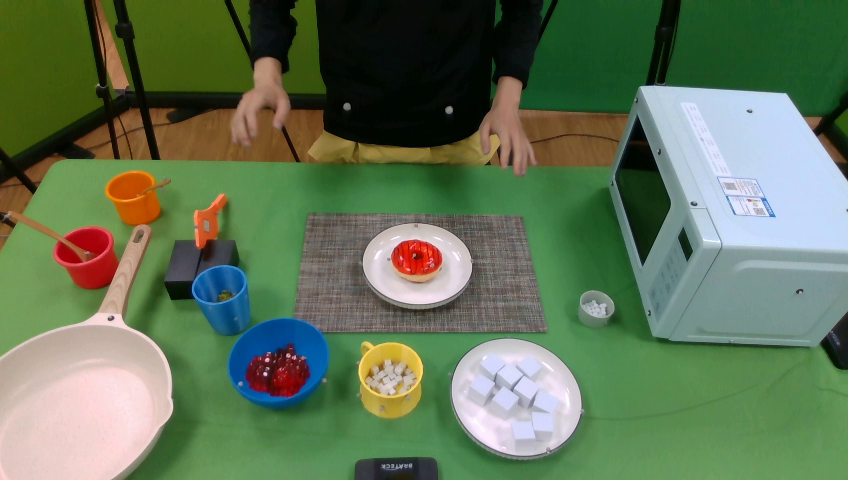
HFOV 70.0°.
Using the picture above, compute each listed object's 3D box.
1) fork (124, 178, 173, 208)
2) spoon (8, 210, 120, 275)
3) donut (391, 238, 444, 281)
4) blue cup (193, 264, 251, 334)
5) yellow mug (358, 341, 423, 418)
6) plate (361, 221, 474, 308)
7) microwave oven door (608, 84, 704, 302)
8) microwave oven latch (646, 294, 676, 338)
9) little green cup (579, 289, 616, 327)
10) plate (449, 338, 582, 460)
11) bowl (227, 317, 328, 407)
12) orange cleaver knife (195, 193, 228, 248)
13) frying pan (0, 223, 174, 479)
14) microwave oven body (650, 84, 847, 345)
[{"bbox_3d":[-0.525,-0.089,1.153,0.207,0.019,0.028,-17,27,45],"label":"fork"},{"bbox_3d":[-0.628,0.002,1.063,0.195,0.021,0.041,40,41,-27],"label":"spoon"},{"bbox_3d":[-0.012,0.035,1.128,0.099,0.048,0.098,3,43,-3],"label":"donut"},{"bbox_3d":[-0.331,0.105,1.016,0.093,0.101,0.092,1,45,-1],"label":"blue cup"},{"bbox_3d":[-0.063,0.210,0.961,0.100,0.064,0.130,-29,54,-27],"label":"yellow mug"},{"bbox_3d":[-0.011,0.049,1.130,0.209,0.038,0.208,2,46,-2],"label":"plate"},{"bbox_3d":[0.424,-0.096,1.138,0.039,0.245,0.353,3,46,-1],"label":"microwave oven door"},{"bbox_3d":[0.412,0.133,1.060,0.030,0.029,0.078,4,46,1],"label":"microwave oven latch"},{"bbox_3d":[0.308,0.124,1.085,0.061,0.039,0.061,2,45,-2],"label":"little green cup"},{"bbox_3d":[0.141,0.251,0.955,0.208,0.039,0.206,2,47,-2],"label":"plate"},{"bbox_3d":[-0.222,0.203,0.947,0.151,0.077,0.150,2,46,-2],"label":"bowl"},{"bbox_3d":[-0.406,-0.041,1.163,0.012,0.077,0.210,0,18,-3],"label":"orange cleaver knife"},{"bbox_3d":[-0.505,0.169,0.941,0.307,0.103,0.485,5,54,-1],"label":"frying pan"},{"bbox_3d":[0.568,-0.054,1.116,0.326,0.261,0.439,2,46,-1],"label":"microwave oven body"}]
